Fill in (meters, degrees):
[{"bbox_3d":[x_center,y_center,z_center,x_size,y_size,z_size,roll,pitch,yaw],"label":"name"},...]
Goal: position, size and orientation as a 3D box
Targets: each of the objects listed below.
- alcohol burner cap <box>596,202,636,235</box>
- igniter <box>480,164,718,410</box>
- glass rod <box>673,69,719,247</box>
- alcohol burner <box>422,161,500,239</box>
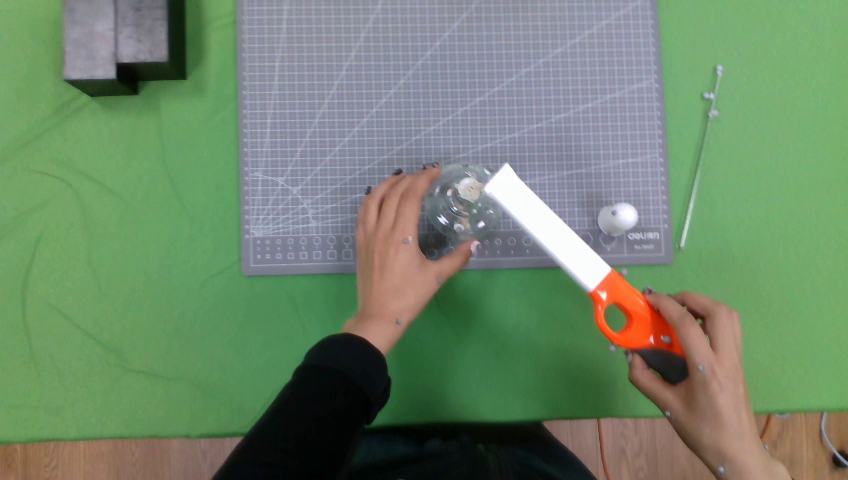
[{"bbox_3d":[0.199,-0.023,0.622,0.034,0.048,0.034,0,85,-1],"label":"alcohol burner cap"},{"bbox_3d":[0.156,0.042,0.525,0.277,0.025,0.057,44,84,-4],"label":"igniter"},{"bbox_3d":[0.292,-0.089,0.650,0.008,0.008,0.199,15,86,-1],"label":"glass rod"},{"bbox_3d":[0.038,-0.041,0.581,0.078,0.119,0.077,0,83,-2],"label":"alcohol burner"}]
